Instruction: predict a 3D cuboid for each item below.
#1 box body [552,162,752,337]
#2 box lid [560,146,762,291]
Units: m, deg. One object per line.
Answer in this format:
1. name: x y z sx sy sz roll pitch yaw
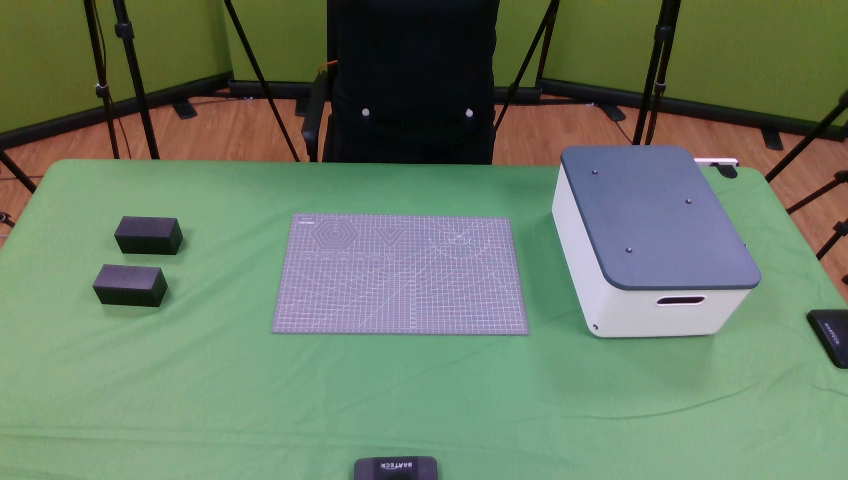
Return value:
1. box body: 0.401 -0.001 1.131 0.254 0.161 0.361 -1 46 -5
2. box lid: 0.404 -0.052 1.076 0.263 0.015 0.369 -1 45 -5
